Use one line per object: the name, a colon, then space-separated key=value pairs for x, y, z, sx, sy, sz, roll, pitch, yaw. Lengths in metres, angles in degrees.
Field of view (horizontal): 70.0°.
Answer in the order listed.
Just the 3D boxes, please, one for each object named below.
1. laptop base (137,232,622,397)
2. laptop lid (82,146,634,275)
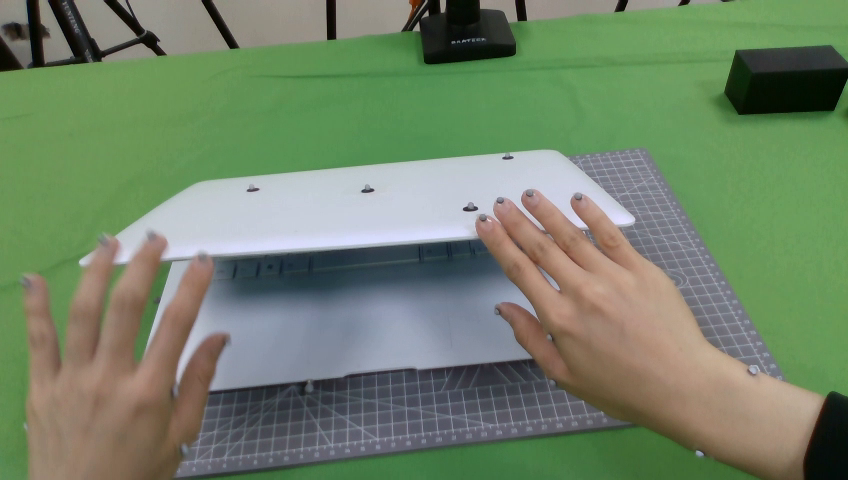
laptop base: x=-0.038 y=0.017 z=0.515 sx=0.354 sy=0.023 sz=0.233 roll=-6 pitch=47 yaw=0
laptop lid: x=-0.044 y=-0.035 z=0.481 sx=0.357 sy=0.013 sz=0.240 roll=-5 pitch=20 yaw=1
